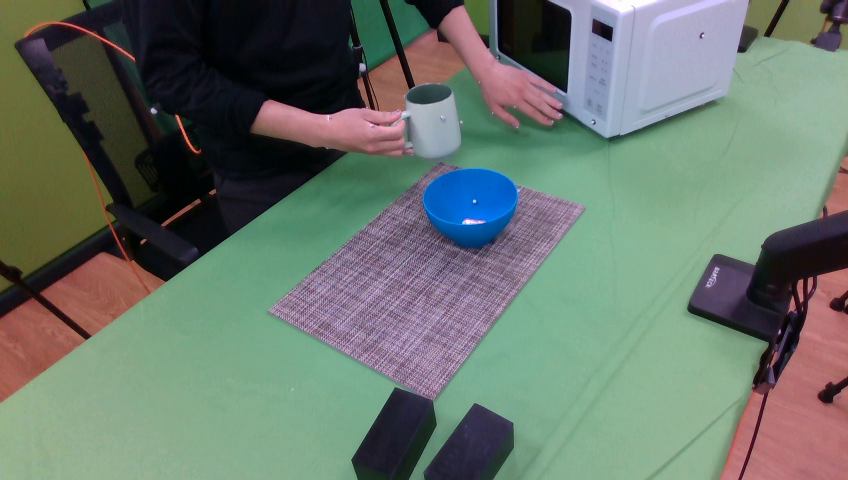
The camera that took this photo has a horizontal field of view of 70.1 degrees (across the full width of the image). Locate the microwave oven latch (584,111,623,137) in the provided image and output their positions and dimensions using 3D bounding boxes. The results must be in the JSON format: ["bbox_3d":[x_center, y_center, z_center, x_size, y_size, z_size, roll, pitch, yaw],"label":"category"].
[{"bbox_3d":[0.337,-0.222,1.142,0.030,0.029,0.078,-21,42,-14],"label":"microwave oven latch"}]

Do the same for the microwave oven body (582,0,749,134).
[{"bbox_3d":[0.382,-0.445,1.246,0.327,0.261,0.437,-22,42,-16],"label":"microwave oven body"}]

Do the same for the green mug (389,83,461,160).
[{"bbox_3d":[-0.001,-0.190,1.003,0.126,0.105,0.091,-26,43,-19],"label":"green mug"}]

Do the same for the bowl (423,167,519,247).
[{"bbox_3d":[0.075,-0.041,0.958,0.151,0.077,0.150,-4,40,4],"label":"bowl"}]

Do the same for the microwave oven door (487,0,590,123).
[{"bbox_3d":[0.232,-0.420,1.231,0.039,0.245,0.352,-22,43,-16],"label":"microwave oven door"}]
